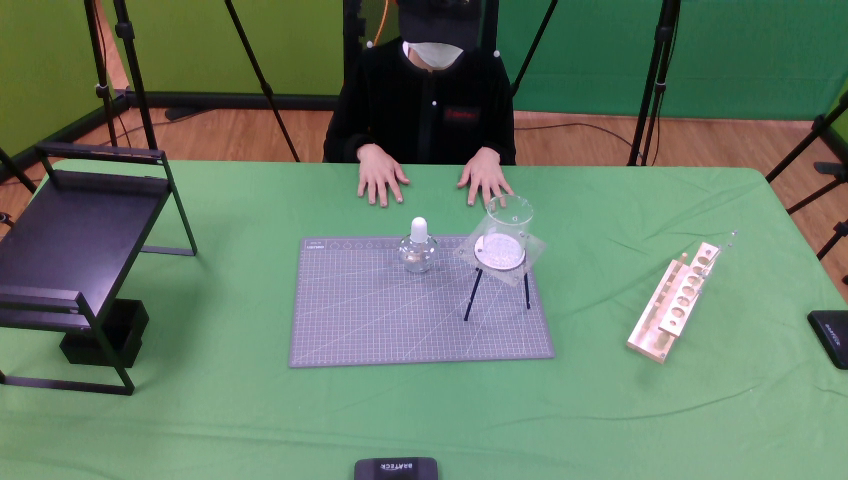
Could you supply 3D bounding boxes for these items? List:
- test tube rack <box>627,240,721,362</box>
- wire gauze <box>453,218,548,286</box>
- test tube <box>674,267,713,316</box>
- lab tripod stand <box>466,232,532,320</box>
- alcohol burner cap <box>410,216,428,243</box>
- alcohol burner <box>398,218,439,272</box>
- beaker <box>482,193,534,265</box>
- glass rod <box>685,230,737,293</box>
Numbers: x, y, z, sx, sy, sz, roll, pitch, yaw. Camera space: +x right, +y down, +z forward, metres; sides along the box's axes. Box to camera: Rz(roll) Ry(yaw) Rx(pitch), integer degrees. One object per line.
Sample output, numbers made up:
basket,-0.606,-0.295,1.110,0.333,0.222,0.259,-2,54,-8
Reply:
test tube rack,0.452,0.098,1.087,0.066,0.085,0.242,28,51,22
wire gauze,0.129,0.014,1.019,0.124,0.011,0.121,26,47,25
test tube,0.445,0.098,1.017,0.017,0.151,0.017,4,49,-4
lab tripod stand,0.125,0.059,1.065,0.148,0.132,0.147,1,45,0
alcohol burner cap,-0.009,-0.022,1.099,0.034,0.048,0.033,2,41,-1
alcohol burner,-0.010,0.004,1.124,0.078,0.120,0.077,1,47,0
beaker,0.135,-0.016,0.979,0.073,0.101,0.084,35,52,28
glass rod,0.495,0.042,1.051,0.008,0.200,0.008,2,55,-2
